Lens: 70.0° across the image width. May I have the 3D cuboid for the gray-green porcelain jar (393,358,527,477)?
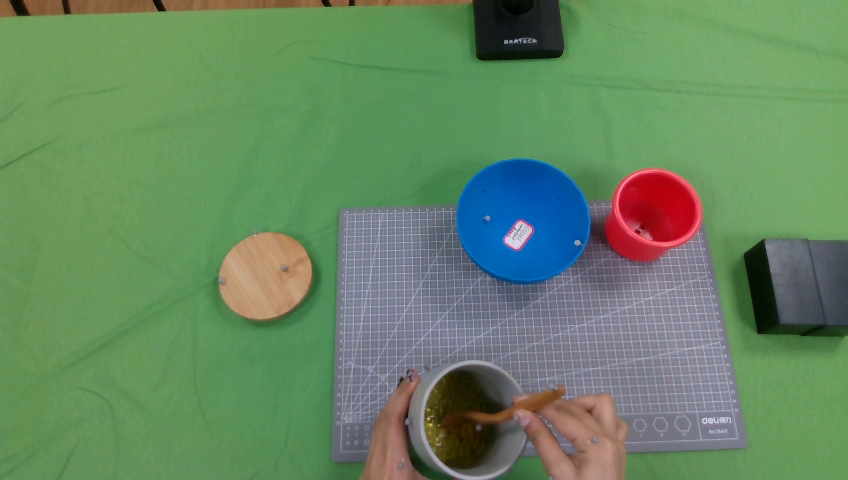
[{"bbox_3d":[0.028,0.174,0.601,0.106,0.126,0.105,4,75,-15],"label":"gray-green porcelain jar"}]

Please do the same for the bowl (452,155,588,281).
[{"bbox_3d":[0.106,-0.014,0.705,0.151,0.077,0.150,0,69,1],"label":"bowl"}]

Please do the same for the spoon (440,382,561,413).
[{"bbox_3d":[0.068,0.149,0.570,0.042,0.193,0.021,44,63,-8],"label":"spoon"}]

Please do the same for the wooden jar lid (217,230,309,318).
[{"bbox_3d":[-0.190,0.042,0.721,0.108,0.021,0.107,0,69,1],"label":"wooden jar lid"}]
